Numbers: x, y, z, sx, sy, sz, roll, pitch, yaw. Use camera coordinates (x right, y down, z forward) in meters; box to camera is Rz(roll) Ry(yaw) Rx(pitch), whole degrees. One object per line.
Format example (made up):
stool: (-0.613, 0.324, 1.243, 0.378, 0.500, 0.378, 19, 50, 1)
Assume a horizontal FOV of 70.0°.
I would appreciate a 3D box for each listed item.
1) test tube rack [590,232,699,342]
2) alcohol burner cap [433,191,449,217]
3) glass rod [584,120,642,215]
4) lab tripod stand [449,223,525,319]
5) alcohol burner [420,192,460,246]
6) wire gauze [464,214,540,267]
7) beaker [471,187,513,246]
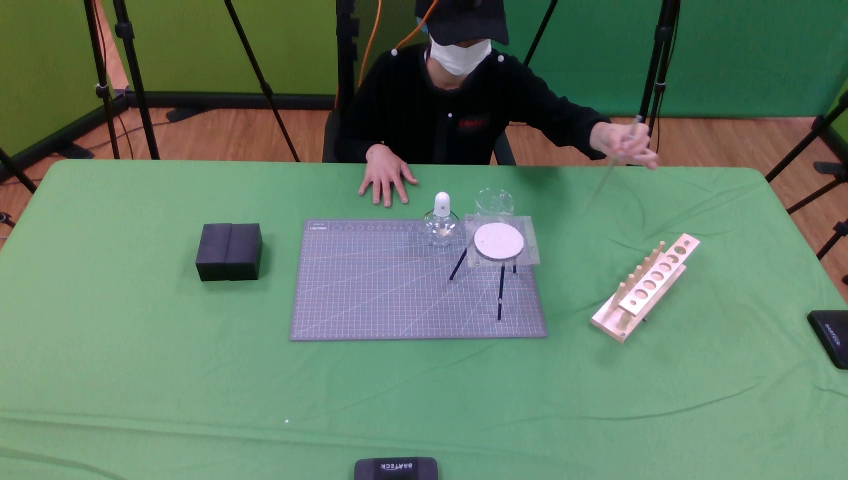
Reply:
test tube rack: (0.407, 0.074, 1.112, 0.066, 0.085, 0.242, 35, 53, 26)
alcohol burner cap: (0.033, -0.070, 1.150, 0.034, 0.048, 0.033, 0, 45, 0)
glass rod: (0.314, -0.117, 1.016, 0.008, 0.200, 0.008, 12, 41, -10)
lab tripod stand: (0.120, 0.046, 1.080, 0.148, 0.132, 0.147, 1, 47, -1)
alcohol burner: (0.032, -0.046, 1.176, 0.078, 0.120, 0.077, 2, 44, -1)
wire gauze: (0.131, -0.002, 1.034, 0.121, 0.011, 0.124, 1, 45, -2)
beaker: (0.134, -0.042, 1.190, 0.083, 0.101, 0.074, 34, 53, 25)
